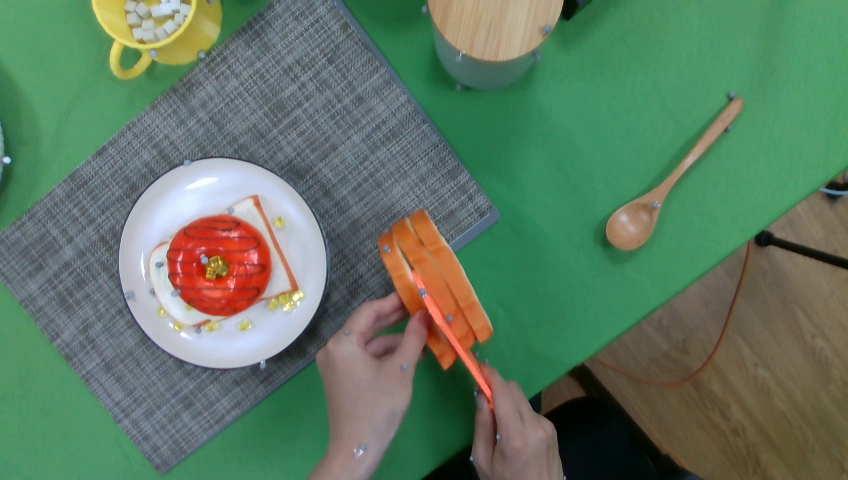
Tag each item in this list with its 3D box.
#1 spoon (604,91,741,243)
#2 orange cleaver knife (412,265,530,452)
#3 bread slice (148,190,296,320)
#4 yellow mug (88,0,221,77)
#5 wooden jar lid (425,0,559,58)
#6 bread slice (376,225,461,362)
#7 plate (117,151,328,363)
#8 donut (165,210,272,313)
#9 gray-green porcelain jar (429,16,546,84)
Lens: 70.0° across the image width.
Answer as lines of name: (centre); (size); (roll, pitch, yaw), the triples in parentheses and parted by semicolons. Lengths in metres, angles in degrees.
spoon: (0.250, -0.073, 0.601); (0.041, 0.022, 0.194); (42, 94, 17)
orange cleaver knife: (0.043, 0.111, 0.560); (0.012, 0.076, 0.213); (-31, 115, 0)
bread slice: (-0.209, 0.024, 0.612); (0.131, 0.019, 0.105); (-26, 92, -1)
yellow mug: (-0.264, -0.216, 0.583); (0.100, 0.064, 0.131); (31, 95, 0)
wooden jar lid: (0.054, -0.199, 0.483); (0.108, 0.020, 0.108); (0, 95, -2)
bread slice: (-0.003, 0.046, 0.578); (0.018, 0.107, 0.134); (-31, 88, 3)
plate: (-0.197, 0.017, 0.607); (0.209, 0.038, 0.209); (0, 94, 2)
donut: (-0.195, 0.020, 0.580); (0.099, 0.048, 0.099); (0, 94, -2)
gray-green porcelain jar: (0.057, -0.202, 0.546); (0.106, 0.126, 0.106); (0, 93, 1)
